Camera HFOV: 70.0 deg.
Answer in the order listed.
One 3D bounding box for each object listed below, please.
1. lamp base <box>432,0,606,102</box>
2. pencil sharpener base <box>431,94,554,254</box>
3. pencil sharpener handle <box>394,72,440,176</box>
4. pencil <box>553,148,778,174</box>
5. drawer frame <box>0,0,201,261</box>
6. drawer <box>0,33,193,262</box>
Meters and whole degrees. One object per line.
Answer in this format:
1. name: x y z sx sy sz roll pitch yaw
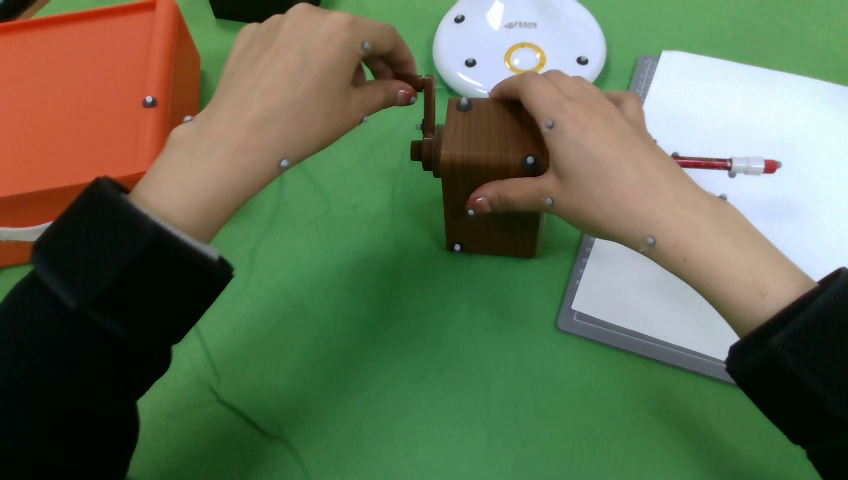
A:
1. lamp base: 0.080 -0.236 0.509 0.161 0.182 0.177 -10 53 -3
2. pencil sharpener base: 0.047 -0.043 0.424 0.076 0.108 0.061 3 56 6
3. pencil sharpener handle: -0.005 -0.077 0.404 0.030 0.036 0.068 3 98 7
4. pencil: 0.128 -0.053 0.394 0.194 0.012 0.012 4 56 5
5. drawer frame: -0.295 -0.093 0.495 0.202 0.083 0.211 -11 55 -3
6. drawer: -0.292 -0.090 0.495 0.194 0.074 0.209 -10 55 -2
